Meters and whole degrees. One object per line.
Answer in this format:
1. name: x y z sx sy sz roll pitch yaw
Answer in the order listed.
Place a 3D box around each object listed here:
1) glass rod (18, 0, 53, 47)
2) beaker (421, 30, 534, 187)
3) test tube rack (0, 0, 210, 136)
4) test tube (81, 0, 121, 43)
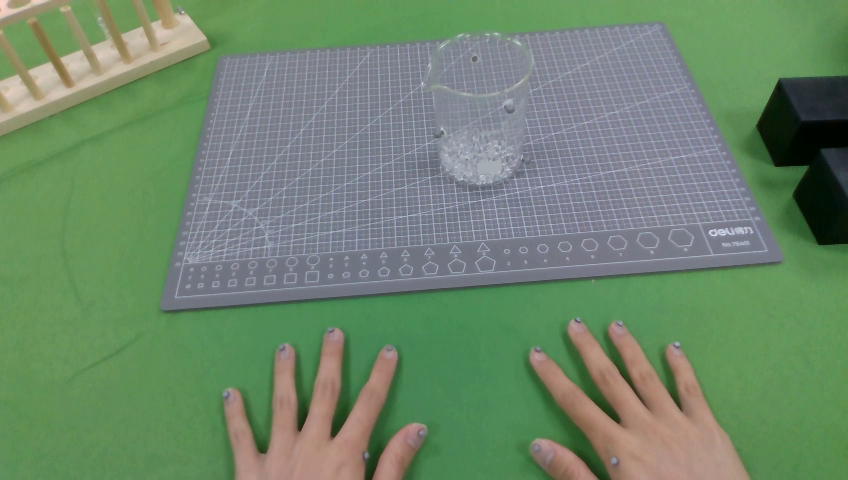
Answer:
1. glass rod: -0.354 -0.223 0.516 0.008 0.201 0.008 1 54 -1
2. beaker: 0.040 -0.096 0.470 0.084 0.101 0.073 -20 54 -10
3. test tube rack: -0.339 -0.184 0.570 0.242 0.086 0.066 -30 57 -18
4. test tube: -0.319 -0.244 0.551 0.017 0.151 0.017 -3 55 4
